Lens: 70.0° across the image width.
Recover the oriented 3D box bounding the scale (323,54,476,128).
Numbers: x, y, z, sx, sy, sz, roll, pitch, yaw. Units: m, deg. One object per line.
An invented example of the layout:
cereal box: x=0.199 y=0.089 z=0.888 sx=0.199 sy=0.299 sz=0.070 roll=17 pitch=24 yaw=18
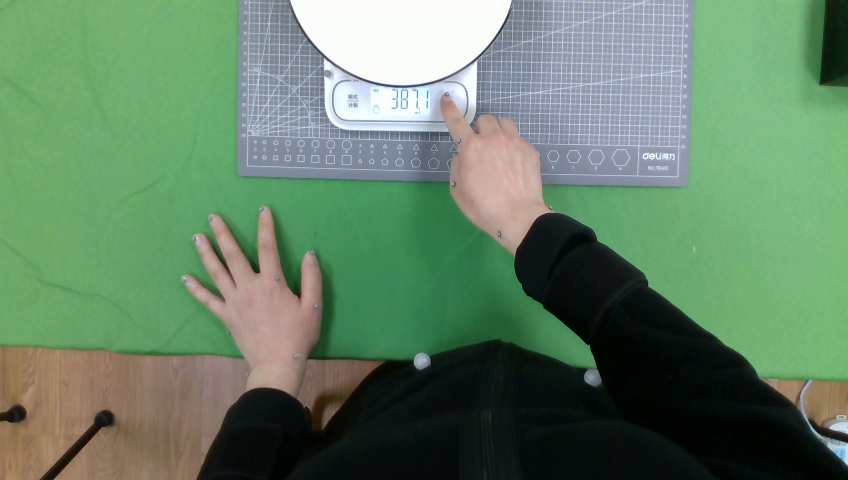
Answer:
scale: x=-0.023 y=-0.212 z=0.586 sx=0.149 sy=0.031 sz=0.201 roll=1 pitch=93 yaw=0

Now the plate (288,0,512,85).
plate: x=-0.021 y=-0.243 z=0.552 sx=0.209 sy=0.038 sz=0.209 roll=0 pitch=92 yaw=-2
